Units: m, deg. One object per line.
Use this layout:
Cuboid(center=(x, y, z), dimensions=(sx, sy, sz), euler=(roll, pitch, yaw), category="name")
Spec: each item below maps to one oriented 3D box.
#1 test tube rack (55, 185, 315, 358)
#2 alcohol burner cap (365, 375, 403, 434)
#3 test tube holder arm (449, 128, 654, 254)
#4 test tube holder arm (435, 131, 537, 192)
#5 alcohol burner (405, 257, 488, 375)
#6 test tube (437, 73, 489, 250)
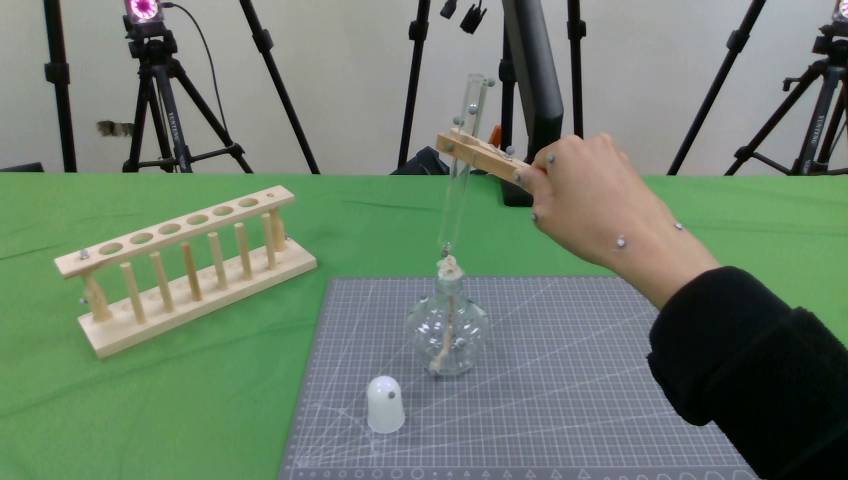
Cuboid(center=(-0.242, 0.025, 0.649), dimensions=(0.243, 0.086, 0.066), euler=(-24, 40, -33), category="test tube rack")
Cuboid(center=(-0.034, 0.134, 0.507), dimensions=(0.034, 0.048, 0.033), euler=(1, 32, 0), category="alcohol burner cap")
Cuboid(center=(0.081, -0.039, 0.426), dimensions=(0.013, 0.015, 0.176), euler=(-24, 46, -39), category="test tube holder arm")
Cuboid(center=(0.045, -0.058, 0.445), dimensions=(0.087, 0.015, 0.010), euler=(29, 38, 26), category="test tube holder arm")
Cuboid(center=(0.021, 0.064, 0.551), dimensions=(0.078, 0.120, 0.077), euler=(1, 34, 0), category="alcohol burner")
Cuboid(center=(0.028, -0.055, 0.470), dimensions=(0.017, 0.151, 0.017), euler=(7, 34, -4), category="test tube")
